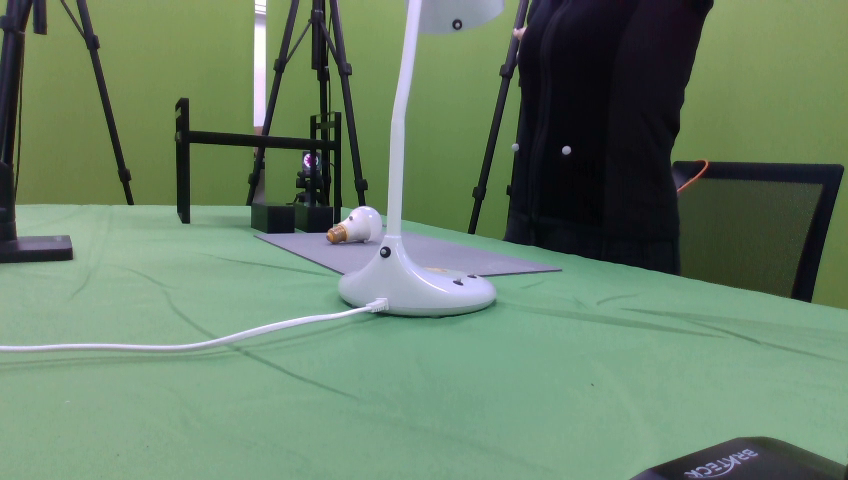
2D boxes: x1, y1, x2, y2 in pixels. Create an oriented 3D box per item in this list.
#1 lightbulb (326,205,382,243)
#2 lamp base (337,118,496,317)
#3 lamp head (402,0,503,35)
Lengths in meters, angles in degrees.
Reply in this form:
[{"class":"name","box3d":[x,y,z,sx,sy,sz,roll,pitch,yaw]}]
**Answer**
[{"class":"lightbulb","box3d":[-0.117,-0.021,0.999,0.059,0.059,0.108,10,25,43]},{"class":"lamp base","box3d":[-0.008,-0.025,0.589,0.160,0.180,0.179,4,10,15]},{"class":"lamp head","box3d":[0.021,-0.293,0.641,0.112,0.123,0.112,-9,44,9]}]
